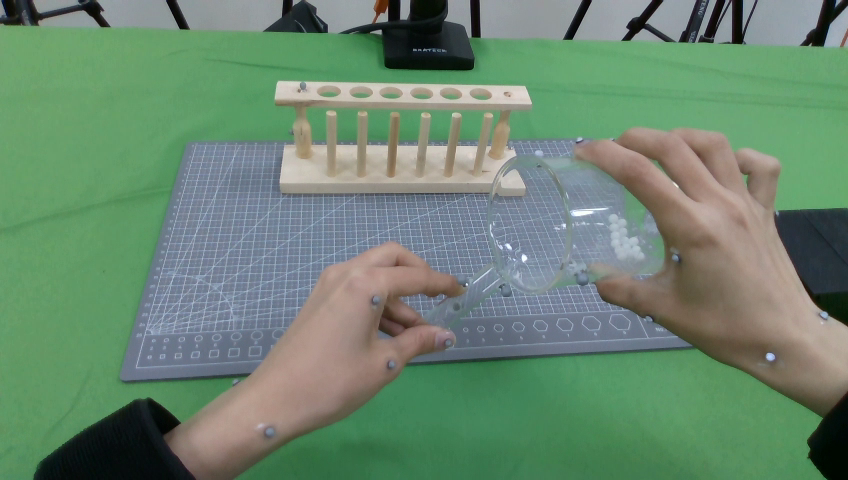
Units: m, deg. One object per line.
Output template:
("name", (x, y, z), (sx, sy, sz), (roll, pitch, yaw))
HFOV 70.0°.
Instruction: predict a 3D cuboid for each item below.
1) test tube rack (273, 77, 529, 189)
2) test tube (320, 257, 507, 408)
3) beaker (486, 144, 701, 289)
("test tube rack", (-0.021, -0.104, 0.596), (0.243, 0.086, 0.066), (-1, 44, -7))
("test tube", (-0.010, 0.060, 0.373), (0.017, 0.150, 0.017), (44, 20, -19))
("beaker", (0.095, -0.013, 0.341), (0.101, 0.084, 0.073), (-6, 56, -25))
